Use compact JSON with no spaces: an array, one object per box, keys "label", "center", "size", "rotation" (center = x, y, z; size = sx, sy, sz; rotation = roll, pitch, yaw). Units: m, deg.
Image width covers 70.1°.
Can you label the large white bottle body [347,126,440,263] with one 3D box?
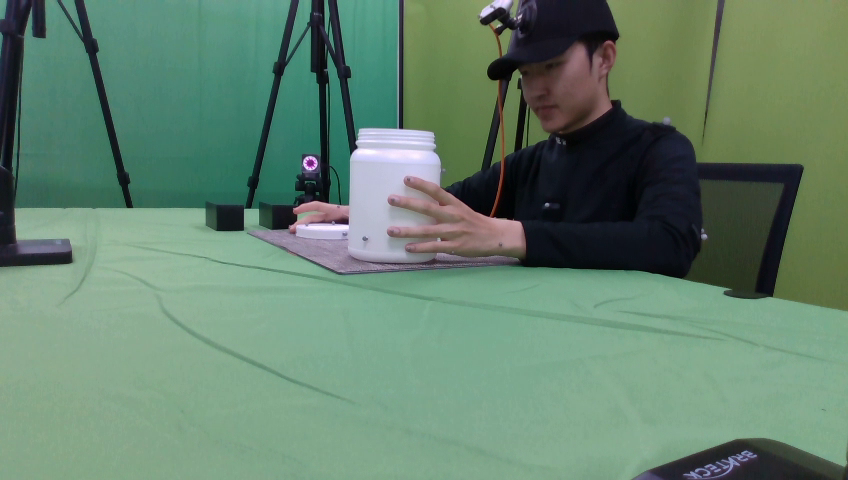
[{"label":"large white bottle body","center":[-0.043,-0.067,0.868],"size":[0.131,0.184,0.130],"rotation":[2,8,0]}]

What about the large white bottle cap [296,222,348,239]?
[{"label":"large white bottle cap","center":[-0.176,-0.019,1.109],"size":[0.115,0.018,0.115],"rotation":[2,8,0]}]
